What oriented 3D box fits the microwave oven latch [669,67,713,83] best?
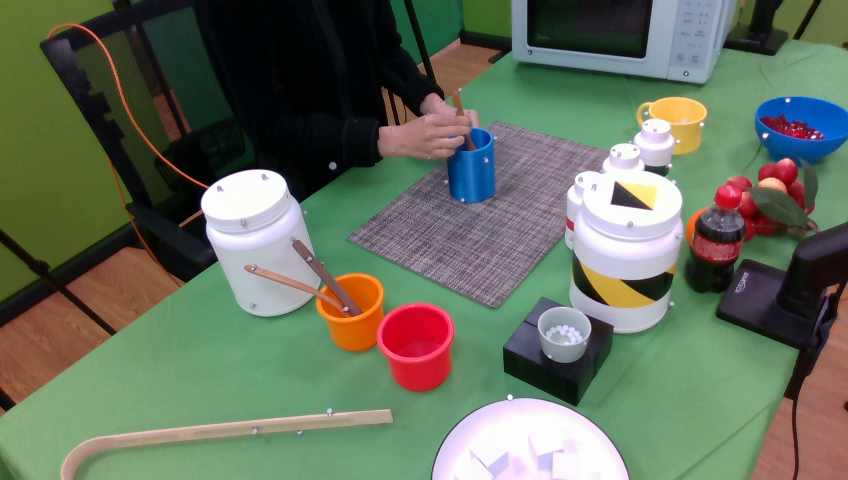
[{"bbox_3d":[0.556,-0.348,1.262,0.078,0.029,0.030,16,46,27],"label":"microwave oven latch"}]

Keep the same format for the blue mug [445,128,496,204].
[{"bbox_3d":[0.081,-0.139,1.058,0.082,0.106,0.116,-5,40,3],"label":"blue mug"}]

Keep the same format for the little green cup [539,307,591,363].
[{"bbox_3d":[0.167,0.114,0.721,0.061,0.039,0.061,-4,43,4],"label":"little green cup"}]

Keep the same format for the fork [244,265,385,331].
[{"bbox_3d":[-0.142,0.078,0.806,0.209,0.018,0.028,30,33,-23],"label":"fork"}]

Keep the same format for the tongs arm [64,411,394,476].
[{"bbox_3d":[-0.228,0.241,0.715,0.385,0.026,0.050,-5,43,4],"label":"tongs arm"}]

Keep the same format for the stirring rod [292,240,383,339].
[{"bbox_3d":[-0.118,0.068,0.826,0.176,0.006,0.014,49,59,-4],"label":"stirring rod"}]

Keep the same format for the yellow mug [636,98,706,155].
[{"bbox_3d":[0.453,-0.217,1.128,0.100,0.064,0.129,-34,46,-27],"label":"yellow mug"}]

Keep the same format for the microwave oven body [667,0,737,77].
[{"bbox_3d":[0.462,-0.552,1.369,0.439,0.261,0.326,15,45,26],"label":"microwave oven body"}]

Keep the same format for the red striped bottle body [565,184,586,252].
[{"bbox_3d":[0.247,-0.041,0.910,0.063,0.120,0.062,-3,39,3],"label":"red striped bottle body"}]

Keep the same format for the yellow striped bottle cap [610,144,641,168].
[{"bbox_3d":[0.307,-0.128,0.923,0.044,0.019,0.044,-5,39,5],"label":"yellow striped bottle cap"}]

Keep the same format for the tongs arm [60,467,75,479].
[{"bbox_3d":[-0.239,0.301,0.649,0.386,0.028,0.028,6,49,16],"label":"tongs arm"}]

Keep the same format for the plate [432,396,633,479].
[{"bbox_3d":[0.112,0.261,0.634,0.209,0.038,0.208,-5,40,4],"label":"plate"}]

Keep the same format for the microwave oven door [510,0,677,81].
[{"bbox_3d":[0.354,-0.478,1.290,0.353,0.245,0.039,15,45,25],"label":"microwave oven door"}]

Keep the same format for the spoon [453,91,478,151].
[{"bbox_3d":[0.073,-0.172,1.003,0.041,0.195,0.021,-26,47,0],"label":"spoon"}]

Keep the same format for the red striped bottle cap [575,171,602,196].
[{"bbox_3d":[0.242,-0.081,0.876,0.044,0.018,0.044,-5,44,5],"label":"red striped bottle cap"}]

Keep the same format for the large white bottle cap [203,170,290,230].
[{"bbox_3d":[-0.241,-0.057,0.822,0.115,0.018,0.114,-4,41,4],"label":"large white bottle cap"}]

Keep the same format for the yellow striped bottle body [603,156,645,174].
[{"bbox_3d":[0.313,-0.089,0.955,0.063,0.121,0.062,-4,40,4],"label":"yellow striped bottle body"}]

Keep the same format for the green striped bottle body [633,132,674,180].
[{"bbox_3d":[0.376,-0.135,1.001,0.063,0.120,0.063,-5,41,5],"label":"green striped bottle body"}]

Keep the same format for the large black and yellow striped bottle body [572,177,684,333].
[{"bbox_3d":[0.262,0.017,0.788,0.131,0.185,0.130,-5,40,4],"label":"large black and yellow striped bottle body"}]

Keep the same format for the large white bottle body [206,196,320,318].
[{"bbox_3d":[-0.233,0.008,0.877,0.130,0.185,0.130,-4,40,4],"label":"large white bottle body"}]

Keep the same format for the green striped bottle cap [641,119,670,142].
[{"bbox_3d":[0.371,-0.175,0.968,0.044,0.020,0.044,-5,42,5],"label":"green striped bottle cap"}]

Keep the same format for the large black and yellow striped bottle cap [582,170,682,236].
[{"bbox_3d":[0.252,-0.048,0.735,0.115,0.019,0.114,-3,40,3],"label":"large black and yellow striped bottle cap"}]

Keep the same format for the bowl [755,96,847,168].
[{"bbox_3d":[0.645,-0.177,1.041,0.151,0.077,0.150,-5,40,4],"label":"bowl"}]
